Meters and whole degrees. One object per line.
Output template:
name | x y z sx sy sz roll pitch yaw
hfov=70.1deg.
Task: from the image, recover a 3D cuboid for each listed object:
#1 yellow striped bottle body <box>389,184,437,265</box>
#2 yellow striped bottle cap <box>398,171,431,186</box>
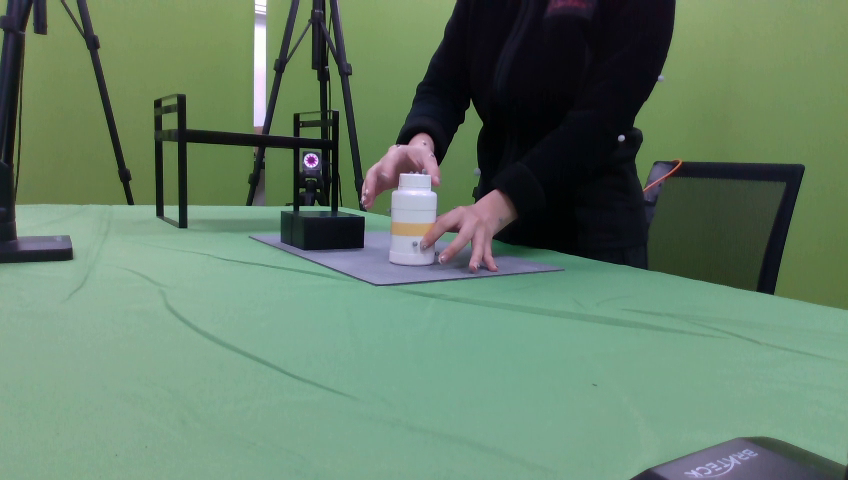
yellow striped bottle body | -0.014 -0.030 0.815 0.063 0.120 0.063 2 7 0
yellow striped bottle cap | -0.013 -0.082 0.808 0.044 0.018 0.044 4 8 0
